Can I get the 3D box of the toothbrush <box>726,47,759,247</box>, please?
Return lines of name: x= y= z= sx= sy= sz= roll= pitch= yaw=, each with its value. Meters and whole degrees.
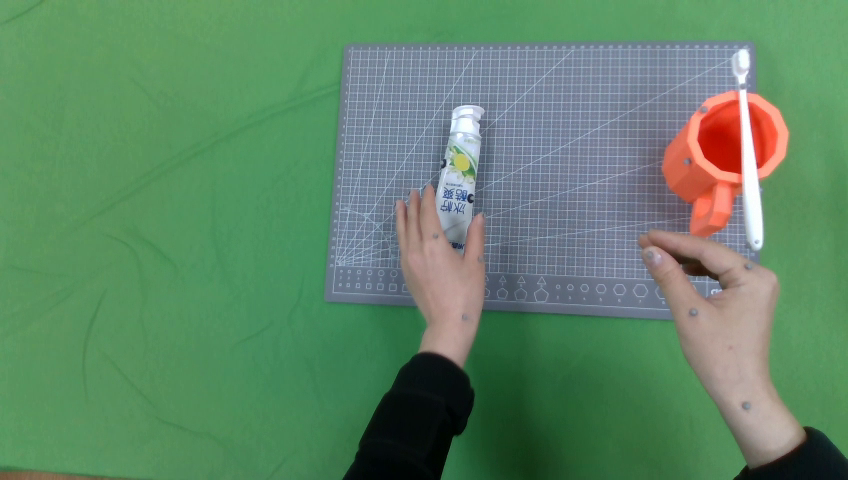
toothbrush: x=0.282 y=-0.084 z=0.533 sx=0.014 sy=0.017 sz=0.181 roll=-1 pitch=82 yaw=4

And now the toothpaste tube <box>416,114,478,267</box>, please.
toothpaste tube: x=0.030 y=-0.056 z=0.652 sx=0.055 sy=0.034 sz=0.165 roll=8 pitch=87 yaw=14

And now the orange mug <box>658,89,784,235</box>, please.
orange mug: x=0.279 y=-0.070 z=0.585 sx=0.083 sy=0.101 sz=0.125 roll=11 pitch=78 yaw=9

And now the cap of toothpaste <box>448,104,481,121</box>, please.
cap of toothpaste: x=0.044 y=-0.137 z=0.656 sx=0.037 sy=0.037 sz=0.011 roll=-4 pitch=78 yaw=7
